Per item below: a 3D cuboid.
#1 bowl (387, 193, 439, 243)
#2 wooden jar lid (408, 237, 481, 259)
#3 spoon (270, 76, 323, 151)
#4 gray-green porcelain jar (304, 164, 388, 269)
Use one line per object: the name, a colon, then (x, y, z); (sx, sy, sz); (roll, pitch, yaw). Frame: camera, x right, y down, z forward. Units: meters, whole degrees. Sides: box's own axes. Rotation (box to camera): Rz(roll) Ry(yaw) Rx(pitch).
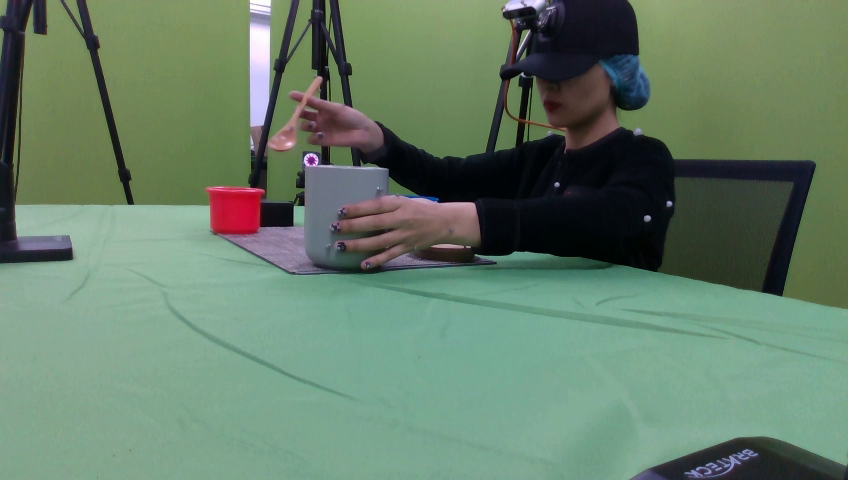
bowl: (-0.050, -0.038, 1.033); (0.151, 0.077, 0.151); (3, 7, 0)
wooden jar lid: (0.031, 0.012, 0.895); (0.108, 0.020, 0.108); (3, 8, 0)
spoon: (-0.210, -0.220, 1.034); (0.041, 0.193, 0.021); (14, -31, 10)
gray-green porcelain jar: (-0.099, -0.032, 0.768); (0.106, 0.126, 0.106); (2, 8, 0)
